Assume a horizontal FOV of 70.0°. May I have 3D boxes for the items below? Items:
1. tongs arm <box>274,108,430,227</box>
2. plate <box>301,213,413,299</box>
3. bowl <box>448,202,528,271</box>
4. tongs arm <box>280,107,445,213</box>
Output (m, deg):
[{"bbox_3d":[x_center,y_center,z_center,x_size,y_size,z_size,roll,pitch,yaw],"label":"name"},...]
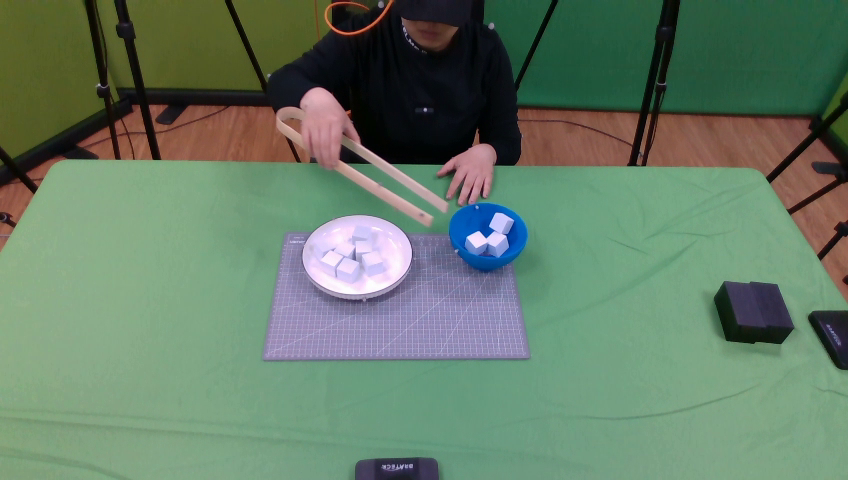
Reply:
[{"bbox_3d":[-0.138,-0.139,1.118,0.383,0.026,0.050,31,51,15],"label":"tongs arm"},{"bbox_3d":[-0.124,0.033,1.143,0.208,0.039,0.206,2,46,-2],"label":"plate"},{"bbox_3d":[0.118,0.006,1.160,0.151,0.077,0.150,2,46,-2],"label":"bowl"},{"bbox_3d":[-0.120,-0.155,1.137,0.386,0.028,0.028,33,55,16],"label":"tongs arm"}]
